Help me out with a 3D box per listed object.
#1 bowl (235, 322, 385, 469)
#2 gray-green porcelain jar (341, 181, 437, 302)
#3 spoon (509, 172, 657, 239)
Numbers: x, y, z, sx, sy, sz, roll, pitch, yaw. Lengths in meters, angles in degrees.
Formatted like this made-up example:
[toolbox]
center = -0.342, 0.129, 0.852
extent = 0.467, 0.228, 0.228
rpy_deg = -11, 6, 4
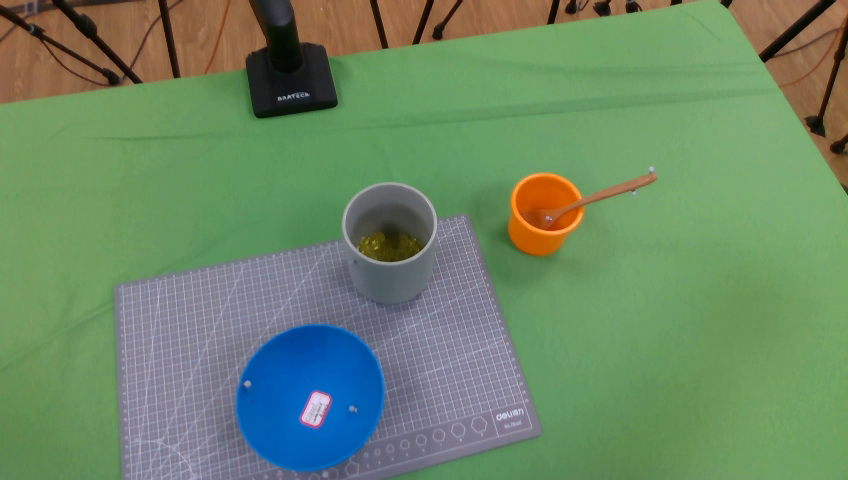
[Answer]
[bowl]
center = -0.117, 0.172, 0.649
extent = 0.151, 0.077, 0.150
rpy_deg = 2, 62, -3
[gray-green porcelain jar]
center = -0.041, 0.008, 0.711
extent = 0.106, 0.127, 0.105
rpy_deg = 1, 62, -2
[spoon]
center = 0.189, -0.043, 0.742
extent = 0.022, 0.193, 0.041
rpy_deg = 25, 54, -41
